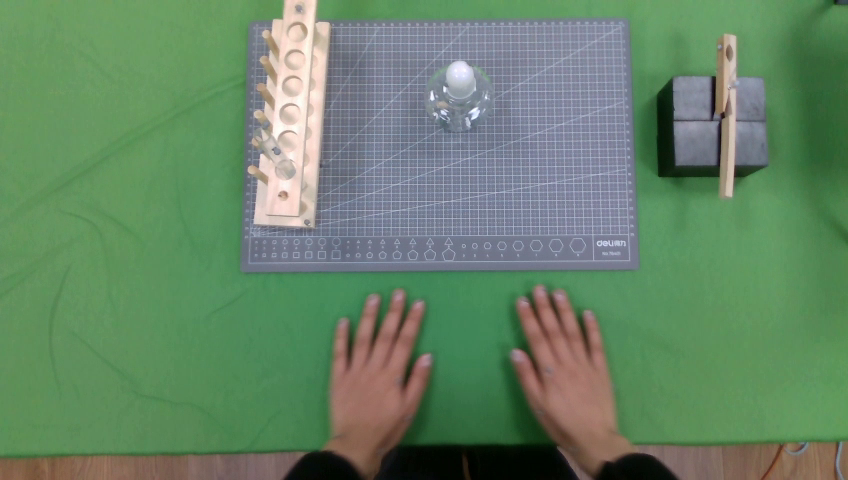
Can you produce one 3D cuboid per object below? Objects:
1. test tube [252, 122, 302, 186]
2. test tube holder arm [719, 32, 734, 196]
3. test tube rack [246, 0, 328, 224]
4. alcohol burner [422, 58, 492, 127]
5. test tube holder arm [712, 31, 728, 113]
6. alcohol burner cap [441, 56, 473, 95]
[{"bbox_3d":[-0.144,-0.081,0.605,0.017,0.151,0.017,0,78,1],"label":"test tube"},{"bbox_3d":[0.323,-0.136,0.648,0.013,0.015,0.178,2,84,-5],"label":"test tube holder arm"},{"bbox_3d":[-0.154,-0.144,0.663,0.067,0.085,0.241,3,83,1],"label":"test tube rack"},{"bbox_3d":[0.036,-0.165,0.650,0.078,0.119,0.077,0,84,2],"label":"alcohol burner"},{"bbox_3d":[0.318,-0.181,0.652,0.010,0.015,0.087,2,84,-5],"label":"test tube holder arm"},{"bbox_3d":[0.033,-0.169,0.615,0.034,0.048,0.034,0,88,3],"label":"alcohol burner cap"}]
